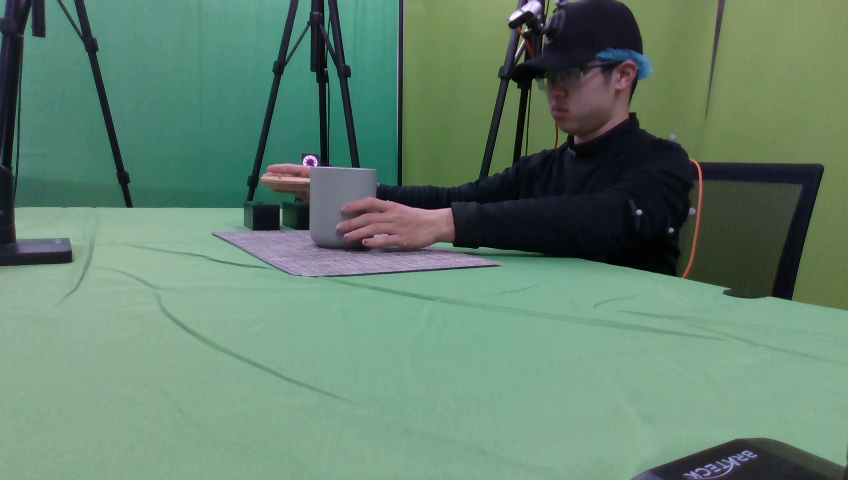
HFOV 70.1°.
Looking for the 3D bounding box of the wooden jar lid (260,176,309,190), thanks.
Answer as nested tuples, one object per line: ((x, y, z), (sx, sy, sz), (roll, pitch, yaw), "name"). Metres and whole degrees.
((-0.273, -0.115, 1.215), (0.108, 0.020, 0.108), (5, 9, 0), "wooden jar lid")

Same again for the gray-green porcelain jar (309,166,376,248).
((-0.130, -0.054, 0.966), (0.106, 0.126, 0.106), (2, 7, 0), "gray-green porcelain jar")
